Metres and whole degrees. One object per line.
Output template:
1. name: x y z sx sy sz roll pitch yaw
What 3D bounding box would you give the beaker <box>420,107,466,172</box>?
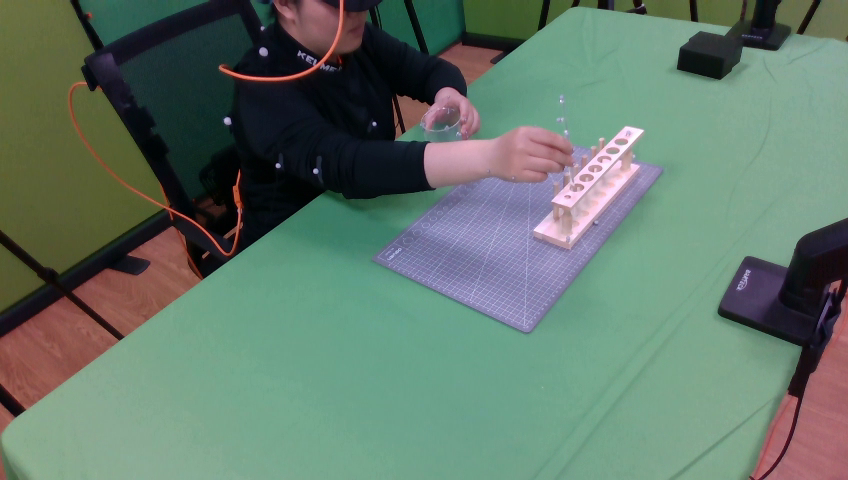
1. beaker: 0.039 -0.186 1.123 0.073 0.101 0.084 9 48 21

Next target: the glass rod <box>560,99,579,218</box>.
1. glass rod: 0.213 -0.113 0.882 0.008 0.201 0.008 -12 35 9

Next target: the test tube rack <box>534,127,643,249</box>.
1. test tube rack: 0.272 -0.094 0.990 0.066 0.085 0.243 23 50 34
